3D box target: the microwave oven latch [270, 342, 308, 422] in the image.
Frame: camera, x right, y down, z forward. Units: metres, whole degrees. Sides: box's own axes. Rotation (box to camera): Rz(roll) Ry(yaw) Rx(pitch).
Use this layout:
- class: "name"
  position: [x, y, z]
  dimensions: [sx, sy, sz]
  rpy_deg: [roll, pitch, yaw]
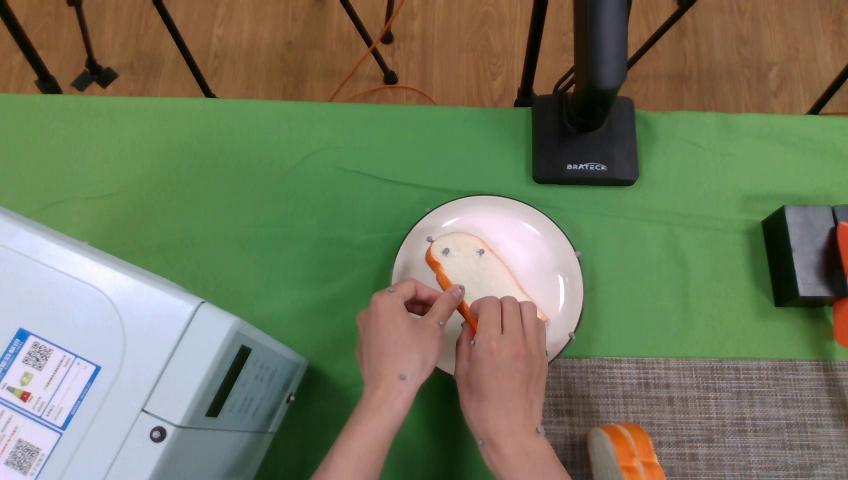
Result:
- class: "microwave oven latch"
  position: [-0.146, 0.142, 0.613]
  dimensions: [0.030, 0.029, 0.079]
  rpy_deg: [24, 75, 8]

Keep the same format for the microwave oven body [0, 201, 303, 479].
- class: "microwave oven body"
  position: [-0.355, 0.214, 0.494]
  dimensions: [0.325, 0.261, 0.440]
  rpy_deg: [22, 75, 8]

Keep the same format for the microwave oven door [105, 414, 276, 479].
- class: "microwave oven door"
  position: [-0.238, 0.302, 0.459]
  dimensions: [0.039, 0.245, 0.354]
  rpy_deg: [22, 74, 9]

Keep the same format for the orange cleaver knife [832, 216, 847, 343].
- class: "orange cleaver knife"
  position: [0.437, 0.081, 0.613]
  dimensions: [0.012, 0.077, 0.211]
  rpy_deg: [-3, 93, 3]

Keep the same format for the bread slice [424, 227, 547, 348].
- class: "bread slice"
  position: [0.058, 0.044, 0.627]
  dimensions: [0.133, 0.018, 0.107]
  rpy_deg: [51, 36, 13]

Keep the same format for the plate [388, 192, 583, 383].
- class: "plate"
  position: [0.066, 0.050, 0.655]
  dimensions: [0.208, 0.039, 0.206]
  rpy_deg: [0, 73, 1]
